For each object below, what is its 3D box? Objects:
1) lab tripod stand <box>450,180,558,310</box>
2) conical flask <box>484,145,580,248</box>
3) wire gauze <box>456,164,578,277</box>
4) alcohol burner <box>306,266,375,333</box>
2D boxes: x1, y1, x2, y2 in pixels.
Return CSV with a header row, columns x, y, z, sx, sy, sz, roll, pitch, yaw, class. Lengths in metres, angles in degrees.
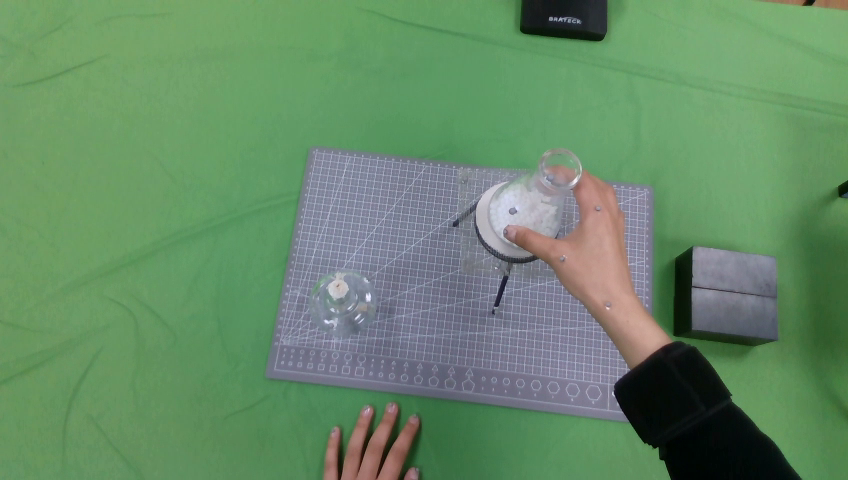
x,y,z,sx,sy,sz,roll,pitch,yaw,class
0.096,-0.005,0.691,0.148,0.132,0.147,1,71,-2,lab tripod stand
0.103,-0.044,0.552,0.075,0.122,0.075,2,72,-7,conical flask
0.096,-0.023,0.627,0.125,0.011,0.121,2,73,-3,wire gauze
-0.095,0.062,0.675,0.078,0.120,0.077,1,71,-3,alcohol burner
